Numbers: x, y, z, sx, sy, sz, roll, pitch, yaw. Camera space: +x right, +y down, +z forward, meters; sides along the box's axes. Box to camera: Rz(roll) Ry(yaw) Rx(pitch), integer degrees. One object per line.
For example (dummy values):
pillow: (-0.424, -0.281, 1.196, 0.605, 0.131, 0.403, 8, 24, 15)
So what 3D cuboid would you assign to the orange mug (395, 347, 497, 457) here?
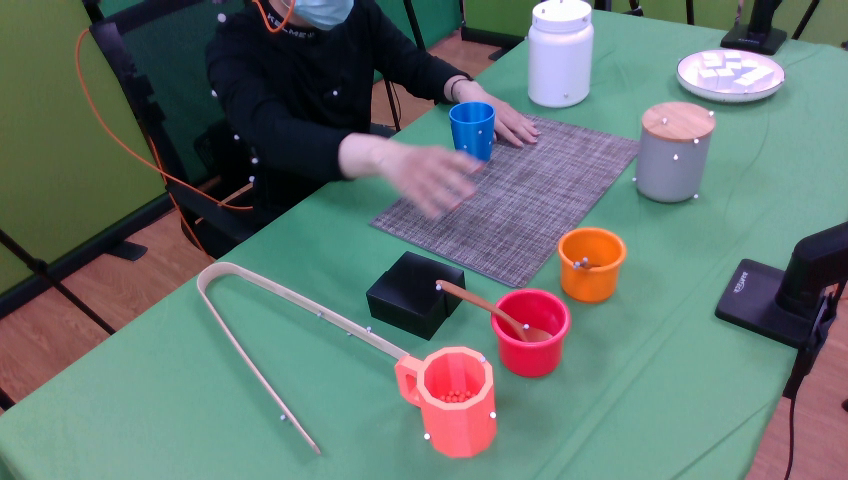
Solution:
orange mug: (0.024, 0.181, 0.703, 0.125, 0.101, 0.083, 21, 48, 23)

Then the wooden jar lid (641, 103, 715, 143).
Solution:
wooden jar lid: (0.398, -0.180, 0.952, 0.108, 0.021, 0.108, -4, 43, 4)

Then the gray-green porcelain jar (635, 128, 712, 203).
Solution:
gray-green porcelain jar: (0.405, -0.133, 0.992, 0.106, 0.127, 0.105, -4, 40, 4)

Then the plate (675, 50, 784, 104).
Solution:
plate: (0.631, -0.336, 1.262, 0.207, 0.039, 0.206, -4, 41, 4)

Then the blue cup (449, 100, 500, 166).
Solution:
blue cup: (0.092, -0.194, 1.123, 0.092, 0.100, 0.092, -3, 40, 3)

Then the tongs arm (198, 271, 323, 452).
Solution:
tongs arm: (-0.236, 0.153, 0.830, 0.028, 0.028, 0.384, -36, 47, -18)

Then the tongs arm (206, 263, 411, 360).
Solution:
tongs arm: (-0.179, 0.106, 0.870, 0.381, 0.026, 0.051, 23, 54, 32)

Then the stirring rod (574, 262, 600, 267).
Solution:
stirring rod: (0.221, 0.033, 0.817, 0.014, 0.006, 0.177, 8, 1, 22)

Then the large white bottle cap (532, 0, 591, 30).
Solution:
large white bottle cap: (0.274, -0.449, 1.204, 0.115, 0.018, 0.114, -4, 41, 4)

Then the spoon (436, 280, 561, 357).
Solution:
spoon: (0.096, 0.095, 0.758, 0.195, 0.021, 0.041, 34, 40, -20)

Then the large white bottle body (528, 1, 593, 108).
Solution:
large white bottle body: (0.283, -0.386, 1.259, 0.130, 0.185, 0.130, -5, 41, 4)
